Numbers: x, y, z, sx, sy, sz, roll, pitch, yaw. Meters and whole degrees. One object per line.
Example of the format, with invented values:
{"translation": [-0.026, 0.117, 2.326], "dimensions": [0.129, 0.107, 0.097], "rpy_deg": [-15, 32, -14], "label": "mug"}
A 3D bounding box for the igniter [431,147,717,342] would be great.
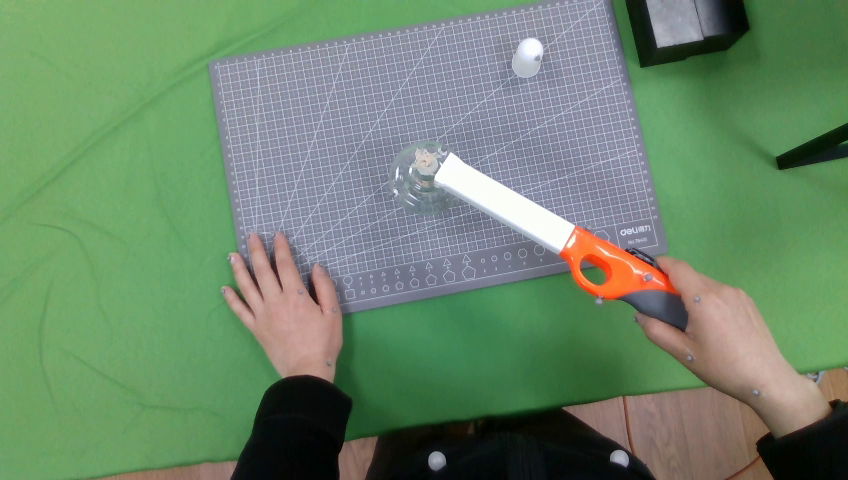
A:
{"translation": [0.130, 0.002, 0.524], "dimensions": [0.276, 0.025, 0.057], "rpy_deg": [31, 73, 5], "label": "igniter"}

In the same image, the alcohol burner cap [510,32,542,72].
{"translation": [0.111, -0.204, 0.646], "dimensions": [0.034, 0.048, 0.034], "rpy_deg": [0, 85, 1], "label": "alcohol burner cap"}

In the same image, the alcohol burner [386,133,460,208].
{"translation": [0.000, -0.071, 0.597], "dimensions": [0.078, 0.119, 0.077], "rpy_deg": [0, 85, 1], "label": "alcohol burner"}
